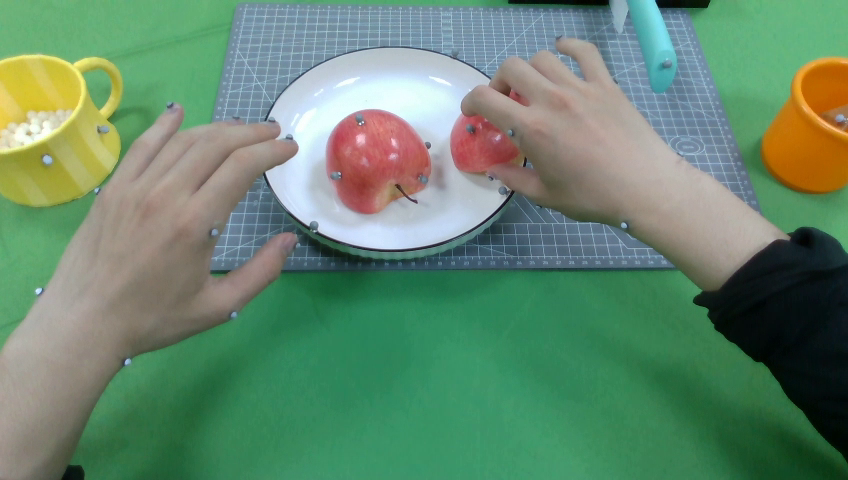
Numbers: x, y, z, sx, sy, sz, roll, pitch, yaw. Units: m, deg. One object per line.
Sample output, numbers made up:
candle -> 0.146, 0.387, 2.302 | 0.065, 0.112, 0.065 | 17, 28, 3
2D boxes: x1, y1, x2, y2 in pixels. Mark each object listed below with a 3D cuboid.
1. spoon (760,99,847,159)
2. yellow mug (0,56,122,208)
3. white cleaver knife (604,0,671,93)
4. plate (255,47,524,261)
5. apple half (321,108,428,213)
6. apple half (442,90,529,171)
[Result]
spoon -> 0.360, -0.118, 0.465 | 0.022, 0.193, 0.041 | 26, 45, -39
yellow mug -> -0.292, -0.095, 0.475 | 0.099, 0.064, 0.130 | 30, 61, 15
white cleaver knife -> 0.188, -0.238, 0.577 | 0.021, 0.066, 0.283 | -2, 55, 2
plate -> -0.026, -0.070, 0.484 | 0.209, 0.038, 0.207 | 1, 59, -1
apple half -> -0.040, -0.068, 0.464 | 0.081, 0.054, 0.074 | -25, 63, -14
apple half -> 0.042, -0.091, 0.473 | 0.081, 0.033, 0.080 | -18, 50, 23
